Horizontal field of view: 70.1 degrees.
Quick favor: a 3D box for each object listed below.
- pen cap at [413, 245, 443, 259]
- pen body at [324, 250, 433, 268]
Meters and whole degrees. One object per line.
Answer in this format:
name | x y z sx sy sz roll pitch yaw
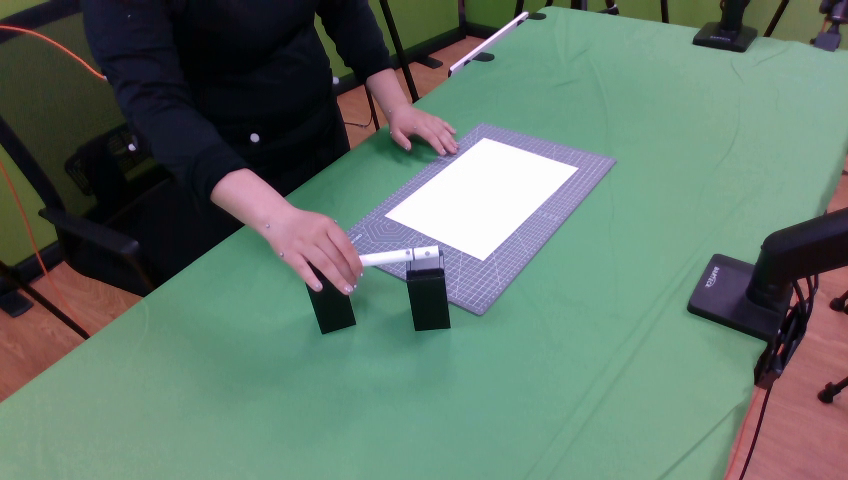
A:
pen cap | 0.005 0.015 0.780 0.038 0.017 0.017 -7 40 2
pen body | -0.058 0.024 0.784 0.144 0.017 0.017 -4 40 7
